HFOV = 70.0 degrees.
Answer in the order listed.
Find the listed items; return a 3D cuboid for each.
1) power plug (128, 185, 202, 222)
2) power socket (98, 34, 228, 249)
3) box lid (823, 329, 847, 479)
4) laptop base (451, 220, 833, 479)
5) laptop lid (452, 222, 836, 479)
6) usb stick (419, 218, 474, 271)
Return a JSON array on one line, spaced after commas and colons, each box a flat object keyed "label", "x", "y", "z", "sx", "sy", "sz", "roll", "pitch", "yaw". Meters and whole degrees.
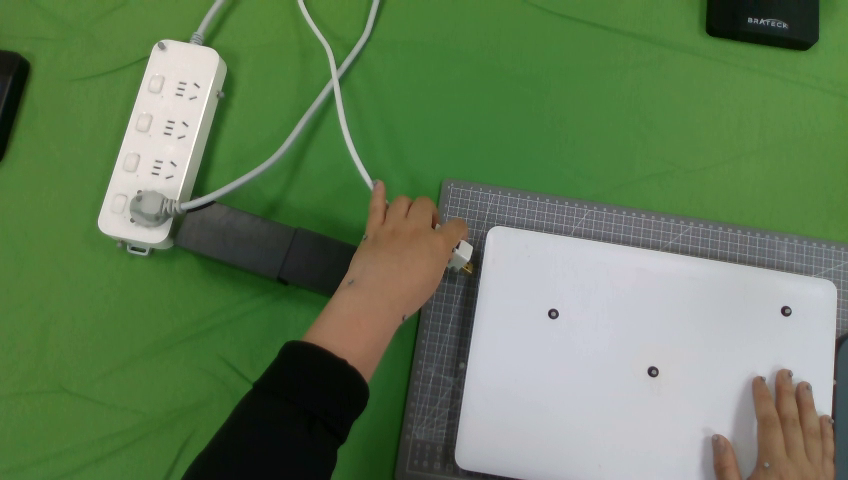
[{"label": "power plug", "x": -0.245, "y": -0.027, "z": 0.574, "sx": 0.072, "sy": 0.053, "sz": 0.035, "roll": 25, "pitch": 77, "yaw": 1}, {"label": "power socket", "x": -0.259, "y": -0.103, "z": 0.608, "sx": 0.072, "sy": 0.032, "sz": 0.226, "roll": 12, "pitch": 79, "yaw": -1}, {"label": "box lid", "x": 0.508, "y": 0.280, "z": 0.577, "sx": 0.263, "sy": 0.015, "sz": 0.370, "roll": 9, "pitch": 79, "yaw": -1}, {"label": "laptop base", "x": 0.216, "y": 0.122, "z": 0.591, "sx": 0.354, "sy": 0.023, "sz": 0.235, "roll": 10, "pitch": 83, "yaw": -1}, {"label": "laptop lid", "x": 0.215, "y": 0.122, "z": 0.580, "sx": 0.357, "sy": 0.013, "sz": 0.241, "roll": 11, "pitch": 82, "yaw": 0}, {"label": "usb stick", "x": 0.027, "y": 0.007, "z": 0.581, "sx": 0.059, "sy": 0.027, "sz": 0.021, "roll": 36, "pitch": 44, "yaw": -12}]
